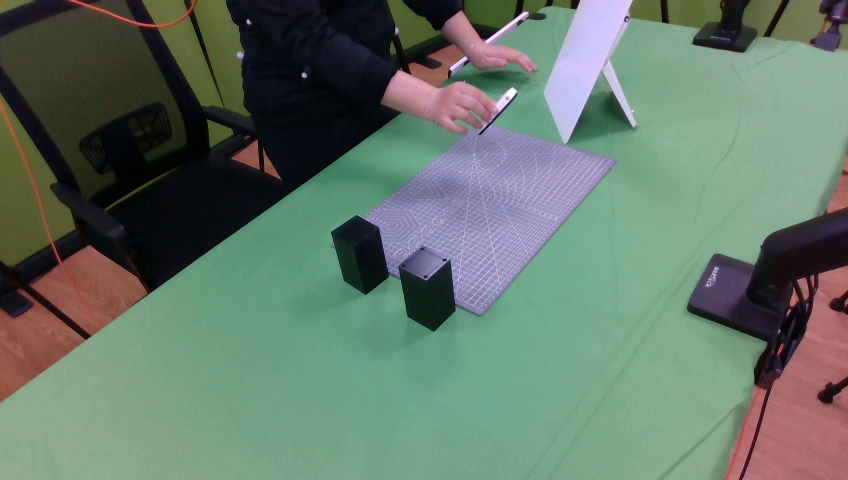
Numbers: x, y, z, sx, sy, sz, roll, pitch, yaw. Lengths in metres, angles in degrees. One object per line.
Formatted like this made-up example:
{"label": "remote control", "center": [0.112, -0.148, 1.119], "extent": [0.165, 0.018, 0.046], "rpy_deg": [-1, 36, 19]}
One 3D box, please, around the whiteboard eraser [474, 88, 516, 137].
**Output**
{"label": "whiteboard eraser", "center": [0.120, -0.217, 1.032], "extent": [0.019, 0.101, 0.041], "rpy_deg": [39, 38, -7]}

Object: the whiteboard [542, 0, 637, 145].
{"label": "whiteboard", "center": [0.365, -0.351, 1.160], "extent": [0.144, 0.305, 0.216], "rpy_deg": [9, 39, -10]}
